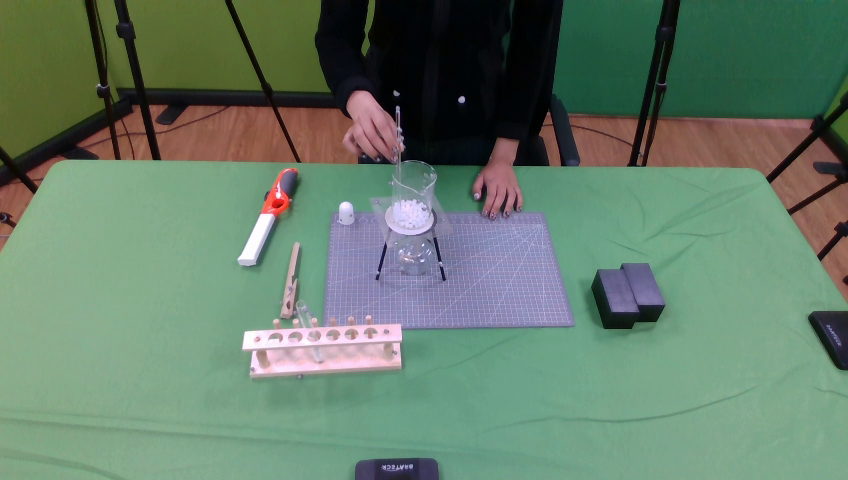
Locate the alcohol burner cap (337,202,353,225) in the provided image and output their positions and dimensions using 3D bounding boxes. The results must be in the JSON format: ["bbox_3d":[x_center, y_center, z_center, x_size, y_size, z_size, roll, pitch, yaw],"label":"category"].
[{"bbox_3d":[-0.161,-0.056,1.223,0.034,0.048,0.033,2,46,-2],"label":"alcohol burner cap"}]

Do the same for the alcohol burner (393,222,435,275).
[{"bbox_3d":[-0.018,0.009,1.122,0.078,0.119,0.077,3,47,-3],"label":"alcohol burner"}]

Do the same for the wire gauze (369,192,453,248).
[{"bbox_3d":[-0.025,-0.041,1.065,0.122,0.011,0.124,-10,46,-18],"label":"wire gauze"}]

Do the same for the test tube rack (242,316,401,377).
[{"bbox_3d":[-0.160,0.166,0.983,0.242,0.085,0.066,-2,46,-6],"label":"test tube rack"}]

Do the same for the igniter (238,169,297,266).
[{"bbox_3d":[-0.313,-0.055,1.224,0.057,0.025,0.275,1,45,10],"label":"igniter"}]

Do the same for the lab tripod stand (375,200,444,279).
[{"bbox_3d":[-0.023,0.004,1.114,0.148,0.132,0.147,4,45,-3],"label":"lab tripod stand"}]

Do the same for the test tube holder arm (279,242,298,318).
[{"bbox_3d":[-0.248,0.069,1.114,0.013,0.015,0.177,25,38,-27],"label":"test tube holder arm"}]

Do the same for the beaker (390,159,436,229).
[{"bbox_3d":[-0.020,-0.073,1.029,0.074,0.101,0.083,-10,48,-16],"label":"beaker"}]

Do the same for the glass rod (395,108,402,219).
[{"bbox_3d":[-0.041,-0.118,0.979,0.008,0.200,0.008,0,35,0],"label":"glass rod"}]

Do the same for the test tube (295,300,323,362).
[{"bbox_3d":[-0.176,0.143,0.935,0.017,0.151,0.017,-2,46,2],"label":"test tube"}]

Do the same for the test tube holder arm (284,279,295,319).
[{"bbox_3d":[-0.241,0.103,1.085,0.010,0.015,0.087,26,38,-26],"label":"test tube holder arm"}]
